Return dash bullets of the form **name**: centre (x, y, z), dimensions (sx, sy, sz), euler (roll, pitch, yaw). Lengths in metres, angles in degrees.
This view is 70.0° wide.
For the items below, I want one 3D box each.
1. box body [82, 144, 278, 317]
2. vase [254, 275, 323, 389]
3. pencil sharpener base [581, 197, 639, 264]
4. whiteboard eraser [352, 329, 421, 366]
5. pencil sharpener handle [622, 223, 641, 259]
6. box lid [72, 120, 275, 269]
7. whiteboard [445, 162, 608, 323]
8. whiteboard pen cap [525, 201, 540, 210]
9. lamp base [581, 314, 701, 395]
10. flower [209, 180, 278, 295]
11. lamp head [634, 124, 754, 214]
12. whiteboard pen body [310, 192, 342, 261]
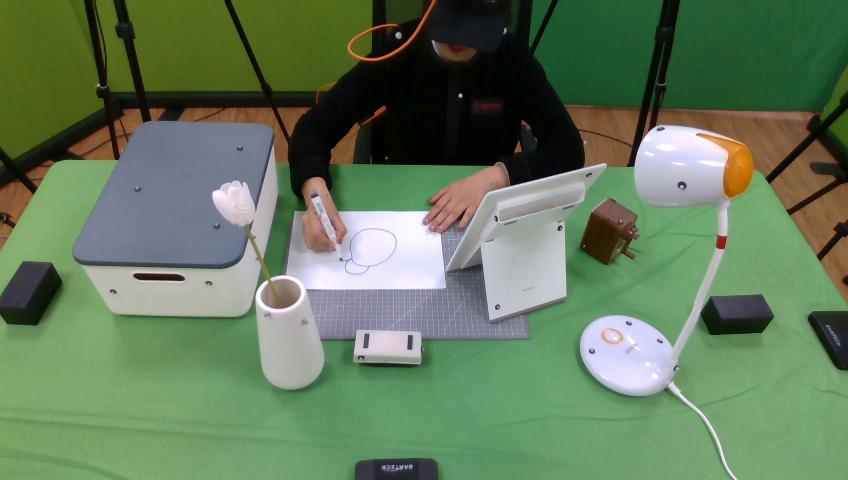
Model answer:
- **box body**: centre (-0.421, -0.041, 1.108), dimensions (0.254, 0.161, 0.361), euler (2, 46, -3)
- **vase**: centre (-0.209, 0.143, 0.921), dimensions (0.098, 0.201, 0.097), euler (1, 46, -1)
- **pencil sharpener base**: centre (0.362, -0.017, 1.179), dimensions (0.076, 0.107, 0.061), euler (37, 54, 27)
- **whiteboard eraser**: centre (-0.061, 0.180, 1.005), dimensions (0.113, 0.042, 0.055), euler (3, 48, -3)
- **pencil sharpener handle**: centre (0.397, 0.002, 1.146), dimensions (0.030, 0.068, 0.036), euler (37, 46, 27)
- **box lid**: centre (-0.417, -0.094, 1.056), dimensions (0.263, 0.015, 0.369), euler (1, 47, -3)
- **whiteboard**: centre (0.186, 0.025, 1.029), dimensions (0.217, 0.306, 0.143), euler (-14, 68, -17)
- **whiteboard pen cap**: centre (0.230, -0.074, 1.289), dimensions (0.033, 0.018, 0.018), euler (5, 46, 4)
- **lamp base**: centre (0.361, 0.144, 0.973), dimensions (0.178, 0.181, 0.160), euler (34, 53, 23)
- **flower**: centre (-0.216, 0.075, 0.871), dimensions (0.044, 0.363, 0.038), euler (-29, 36, -20)
- **lamp head**: centre (0.351, -0.089, 0.776), dimensions (0.112, 0.113, 0.122), euler (-30, 30, -28)
- **whiteboard pen body**: centre (-0.181, -0.024, 1.137), dimensions (0.017, 0.141, 0.017), euler (-19, 18, 6)
